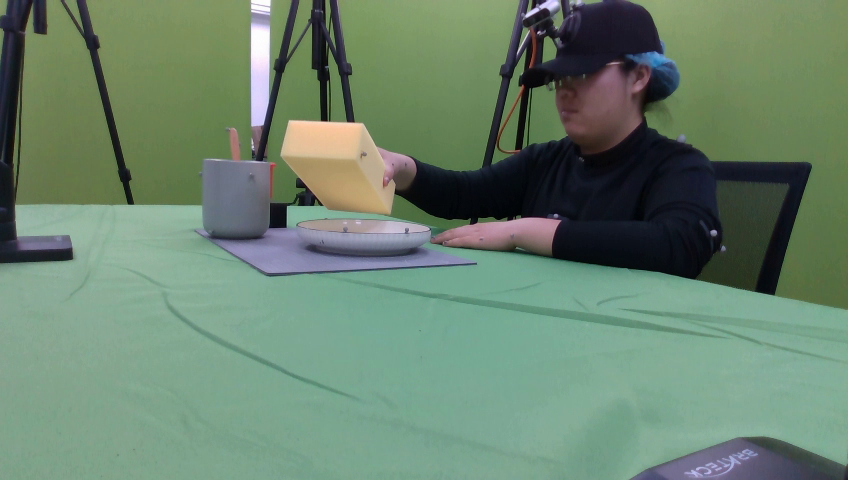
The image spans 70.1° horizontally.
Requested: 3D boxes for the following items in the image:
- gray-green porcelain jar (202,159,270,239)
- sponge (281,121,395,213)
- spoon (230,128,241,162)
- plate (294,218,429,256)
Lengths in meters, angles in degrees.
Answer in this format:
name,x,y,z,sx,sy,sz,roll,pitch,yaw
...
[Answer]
name,x,y,z,sx,sy,sz,roll,pitch,yaw
gray-green porcelain jar,-0.310,-0.068,0.999,0.106,0.126,0.106,3,8,0
sponge,-0.129,-0.110,0.964,0.118,0.061,0.207,5,-18,12
spoon,-0.314,-0.109,1.025,0.042,0.193,0.021,-5,-19,-16
plate,-0.096,-0.005,0.936,0.208,0.039,0.207,3,7,0
